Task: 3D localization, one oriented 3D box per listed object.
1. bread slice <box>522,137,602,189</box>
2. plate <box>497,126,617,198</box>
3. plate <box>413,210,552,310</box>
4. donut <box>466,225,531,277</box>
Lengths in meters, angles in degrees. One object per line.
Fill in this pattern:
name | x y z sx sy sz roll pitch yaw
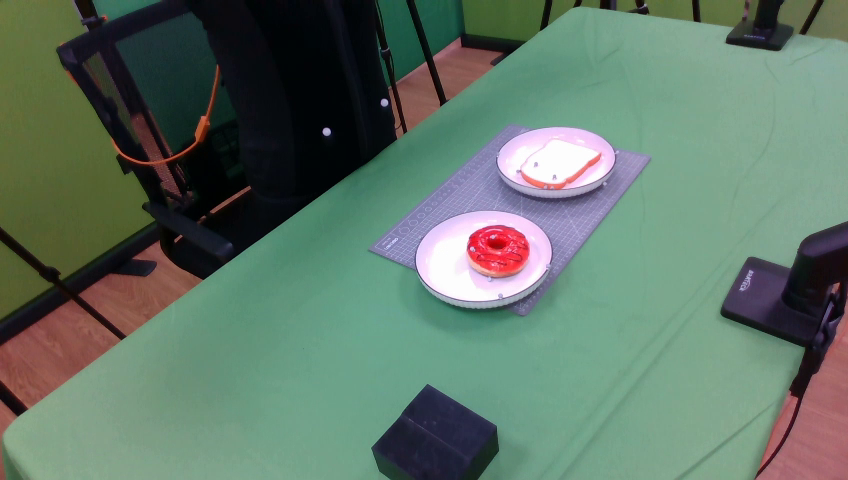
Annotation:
bread slice | 0.242 -0.136 1.085 0.106 0.018 0.134 23 50 34
plate | 0.236 -0.136 1.085 0.209 0.038 0.208 -5 40 5
plate | 0.088 0.033 0.914 0.207 0.039 0.206 -5 40 5
donut | 0.112 0.017 0.910 0.099 0.048 0.098 -2 42 2
